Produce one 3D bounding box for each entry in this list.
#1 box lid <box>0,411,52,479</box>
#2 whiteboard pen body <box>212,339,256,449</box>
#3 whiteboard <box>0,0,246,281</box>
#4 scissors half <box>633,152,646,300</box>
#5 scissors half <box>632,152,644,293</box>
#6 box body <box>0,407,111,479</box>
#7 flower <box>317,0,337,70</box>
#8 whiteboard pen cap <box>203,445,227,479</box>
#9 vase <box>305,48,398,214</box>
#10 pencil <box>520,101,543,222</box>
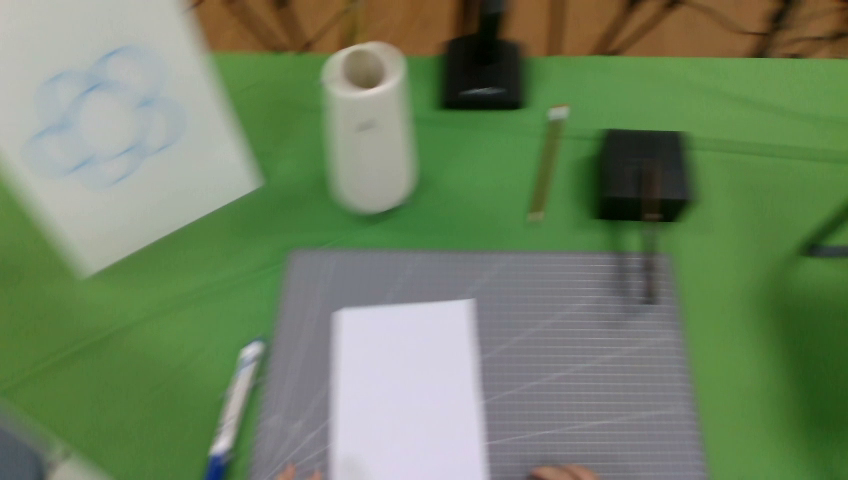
[{"bbox_3d":[-0.491,0.187,0.437,0.370,0.015,0.262,24,63,12],"label":"box lid"},{"bbox_3d":[-0.196,0.167,0.618,0.017,0.017,0.139,6,59,3],"label":"whiteboard pen body"},{"bbox_3d":[-0.375,-0.149,0.665,0.217,0.308,0.142,-31,46,-16],"label":"whiteboard"},{"bbox_3d":[0.244,-0.019,0.691,0.012,0.040,0.174,-4,79,25],"label":"scissors half"},{"bbox_3d":[0.236,-0.025,0.674,0.013,0.040,0.174,-2,62,20],"label":"scissors half"},{"bbox_3d":[-0.489,0.225,0.502,0.362,0.161,0.253,24,63,12],"label":"box body"},{"bbox_3d":[-0.089,-0.168,0.608,0.044,0.365,0.038,-7,43,0],"label":"flower"},{"bbox_3d":[-0.201,0.217,0.588,0.018,0.018,0.033,5,56,3],"label":"whiteboard pen cap"},{"bbox_3d":[-0.081,-0.115,0.674,0.098,0.201,0.097,0,59,1],"label":"vase"},{"bbox_3d":[0.137,-0.105,0.778,0.012,0.012,0.192,10,62,6],"label":"pencil"}]
